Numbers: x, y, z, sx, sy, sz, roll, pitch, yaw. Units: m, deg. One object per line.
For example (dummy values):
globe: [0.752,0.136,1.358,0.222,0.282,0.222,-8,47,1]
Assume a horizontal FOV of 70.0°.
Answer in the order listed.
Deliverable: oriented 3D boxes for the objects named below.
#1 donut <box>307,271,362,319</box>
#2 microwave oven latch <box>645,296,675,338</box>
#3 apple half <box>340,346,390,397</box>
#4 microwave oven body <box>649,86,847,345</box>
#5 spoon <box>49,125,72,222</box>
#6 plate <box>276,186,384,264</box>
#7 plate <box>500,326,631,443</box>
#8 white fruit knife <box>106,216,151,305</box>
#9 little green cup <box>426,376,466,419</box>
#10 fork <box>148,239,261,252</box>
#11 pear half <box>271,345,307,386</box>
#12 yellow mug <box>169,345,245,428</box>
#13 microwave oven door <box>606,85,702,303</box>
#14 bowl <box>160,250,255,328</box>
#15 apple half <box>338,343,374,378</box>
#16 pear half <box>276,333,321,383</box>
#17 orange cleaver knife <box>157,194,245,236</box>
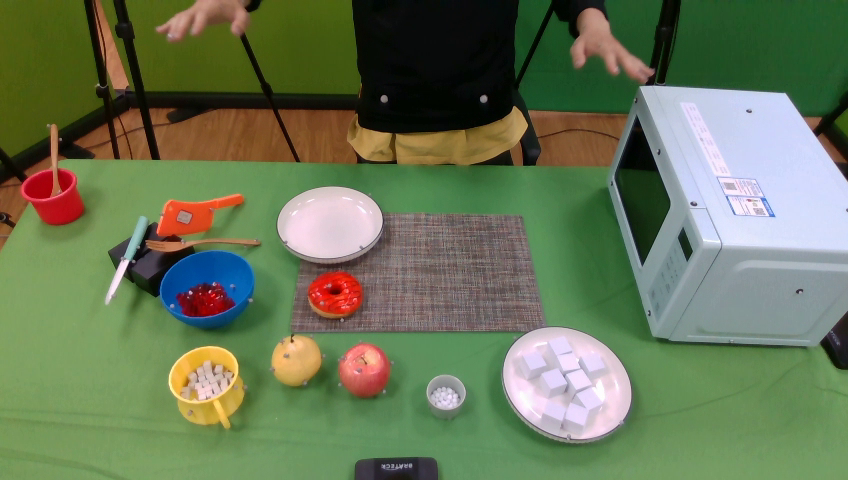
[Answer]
donut: [-0.157,0.097,1.073,0.099,0.048,0.098,4,45,-4]
microwave oven latch: [0.411,0.134,1.061,0.030,0.029,0.078,3,45,0]
apple half: [-0.085,0.214,0.950,0.081,0.075,0.053,-29,58,-32]
microwave oven body: [0.567,-0.053,1.118,0.326,0.261,0.439,2,45,-1]
spoon: [-0.717,-0.131,1.189,0.041,0.021,0.193,-3,90,-6]
plate: [-0.184,-0.027,1.195,0.209,0.038,0.208,2,46,-2]
plate: [0.225,0.233,0.978,0.208,0.039,0.206,2,46,-2]
white fruit knife: [-0.519,0.032,1.066,0.027,0.016,0.206,-18,45,19]
little green cup: [0.033,0.248,0.950,0.061,0.039,0.061,2,46,-2]
fork: [-0.399,0.007,1.118,0.208,0.019,0.028,-4,36,-36]
pear half: [-0.216,0.200,0.943,0.070,0.088,0.031,27,49,15]
yellow mug: [-0.322,0.230,0.922,0.100,0.064,0.130,-24,53,-25]
microwave oven door: [0.423,-0.094,1.140,0.039,0.245,0.353,2,46,-1]
bowl: [-0.362,0.097,1.040,0.151,0.077,0.150,2,45,-2]
apple half: [-0.112,0.192,0.968,0.081,0.081,0.032,-32,59,-29]
pear half: [-0.196,0.172,0.957,0.076,0.110,0.056,27,50,16]
orange cleaver knife: [-0.427,-0.050,1.175,0.012,0.077,0.211,22,19,20]
